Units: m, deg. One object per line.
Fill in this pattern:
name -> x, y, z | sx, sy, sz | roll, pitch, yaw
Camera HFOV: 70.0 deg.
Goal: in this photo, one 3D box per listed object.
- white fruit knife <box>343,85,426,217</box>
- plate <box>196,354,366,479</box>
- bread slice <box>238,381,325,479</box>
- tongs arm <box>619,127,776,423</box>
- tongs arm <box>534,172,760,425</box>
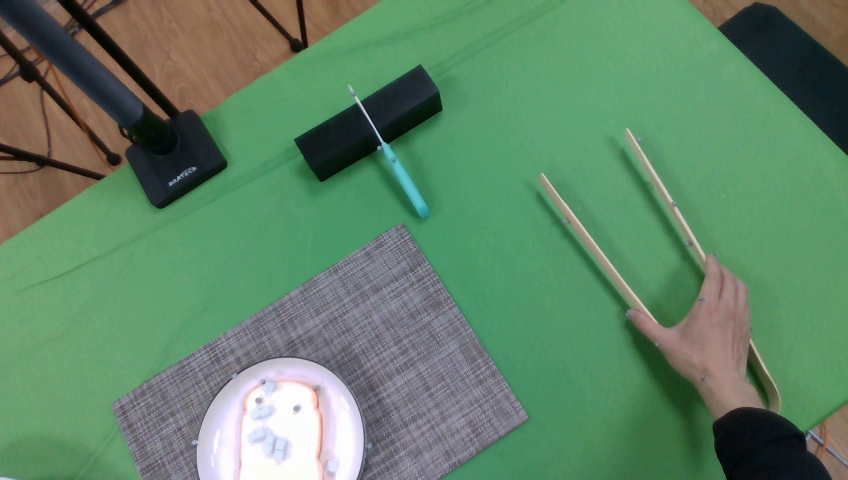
white fruit knife -> -0.055, -0.121, 0.811 | 0.016, 0.027, 0.207 | -32, 86, -3
plate -> -0.169, 0.244, 0.732 | 0.207, 0.039, 0.206 | -2, 73, 7
bread slice -> -0.176, 0.240, 0.736 | 0.107, 0.018, 0.133 | -10, 73, 3
tongs arm -> 0.316, 0.031, 0.736 | 0.051, 0.027, 0.382 | -25, 74, -3
tongs arm -> 0.255, 0.064, 0.735 | 0.028, 0.028, 0.385 | -33, 74, -9
